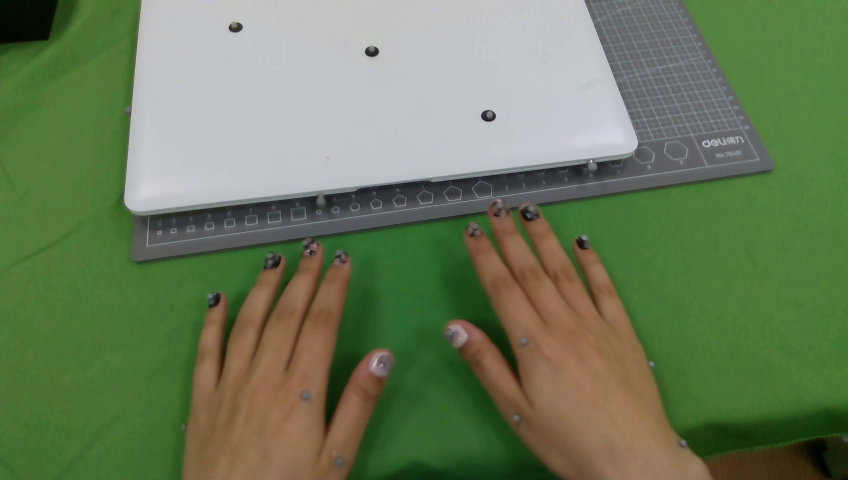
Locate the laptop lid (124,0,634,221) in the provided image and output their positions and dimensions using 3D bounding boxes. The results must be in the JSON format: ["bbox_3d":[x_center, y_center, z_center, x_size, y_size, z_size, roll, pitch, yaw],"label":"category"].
[{"bbox_3d":[-0.040,-0.136,0.460,0.357,0.013,0.239,-6,63,-5],"label":"laptop lid"}]

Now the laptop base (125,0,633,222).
[{"bbox_3d":[-0.041,-0.132,0.471,0.355,0.023,0.233,-8,64,-6],"label":"laptop base"}]
